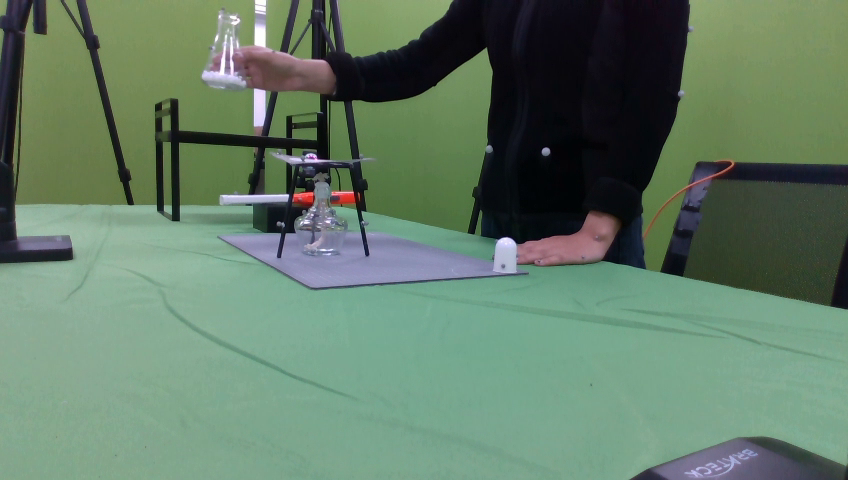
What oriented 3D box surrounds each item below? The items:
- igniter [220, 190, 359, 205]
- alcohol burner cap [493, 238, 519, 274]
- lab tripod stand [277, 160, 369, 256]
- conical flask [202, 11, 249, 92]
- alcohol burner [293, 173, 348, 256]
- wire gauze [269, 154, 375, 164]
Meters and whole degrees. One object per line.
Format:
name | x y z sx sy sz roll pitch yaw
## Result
igniter | -0.246 -0.081 1.158 0.278 0.025 0.057 -5 7 -33
alcohol burner cap | 0.107 0.021 0.785 0.034 0.048 0.034 0 7 0
lab tripod stand | -0.149 -0.046 0.861 0.148 0.131 0.148 3 9 0
conical flask | -0.327 -0.315 1.010 0.075 0.122 0.075 6 2 0
alcohol burner | -0.148 -0.037 0.868 0.078 0.119 0.078 4 8 0
wire gauze | -0.146 -0.114 0.860 0.122 0.011 0.124 -2 9 -28
